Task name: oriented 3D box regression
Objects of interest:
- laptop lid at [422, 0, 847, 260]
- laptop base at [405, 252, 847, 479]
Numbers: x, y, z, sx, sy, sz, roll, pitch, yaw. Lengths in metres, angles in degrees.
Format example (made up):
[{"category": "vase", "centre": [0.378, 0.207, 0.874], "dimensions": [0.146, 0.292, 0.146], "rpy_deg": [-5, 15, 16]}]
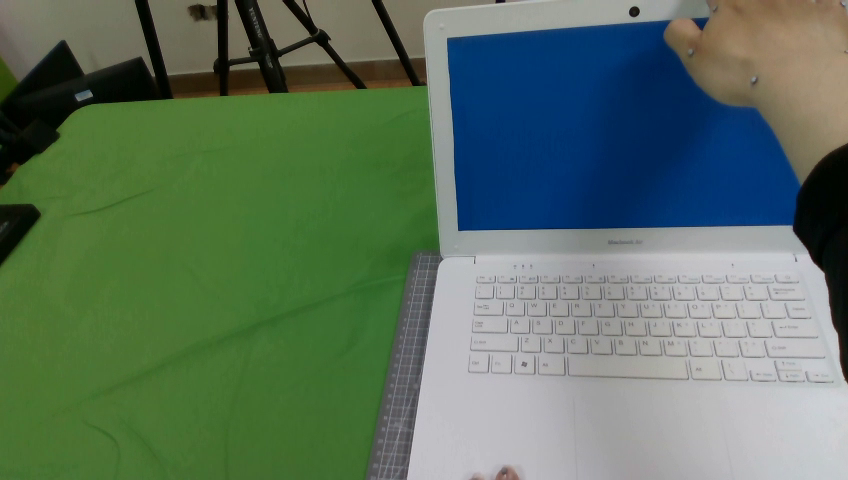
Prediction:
[{"category": "laptop lid", "centre": [0.178, -0.090, 0.528], "dimensions": [0.356, 0.243, 0.013], "rpy_deg": [-2, 19, 11]}, {"category": "laptop base", "centre": [0.172, 0.105, 0.488], "dimensions": [0.353, 0.023, 0.233], "rpy_deg": [-1, 49, 11]}]
